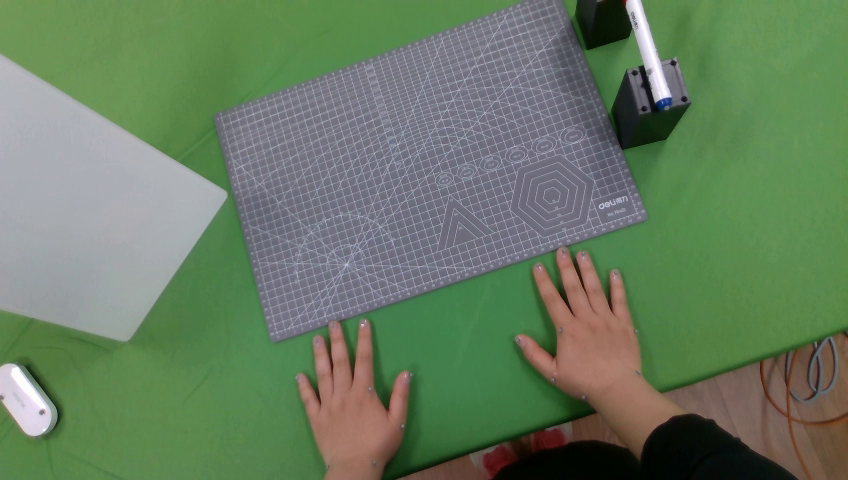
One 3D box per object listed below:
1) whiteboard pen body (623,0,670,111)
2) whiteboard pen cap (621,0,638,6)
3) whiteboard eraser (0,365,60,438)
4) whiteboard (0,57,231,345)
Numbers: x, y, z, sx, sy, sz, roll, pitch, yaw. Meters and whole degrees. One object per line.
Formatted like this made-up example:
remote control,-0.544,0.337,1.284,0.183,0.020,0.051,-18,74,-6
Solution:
whiteboard pen body,0.215,-0.192,0.594,0.017,0.017,0.140,-14,77,6
whiteboard pen cap,0.202,-0.250,0.605,0.017,0.017,0.032,-11,79,6
whiteboard eraser,-0.477,0.192,0.722,0.101,0.019,0.041,44,87,12
whiteboard,-0.407,-0.046,0.643,0.142,0.308,0.217,31,85,33
